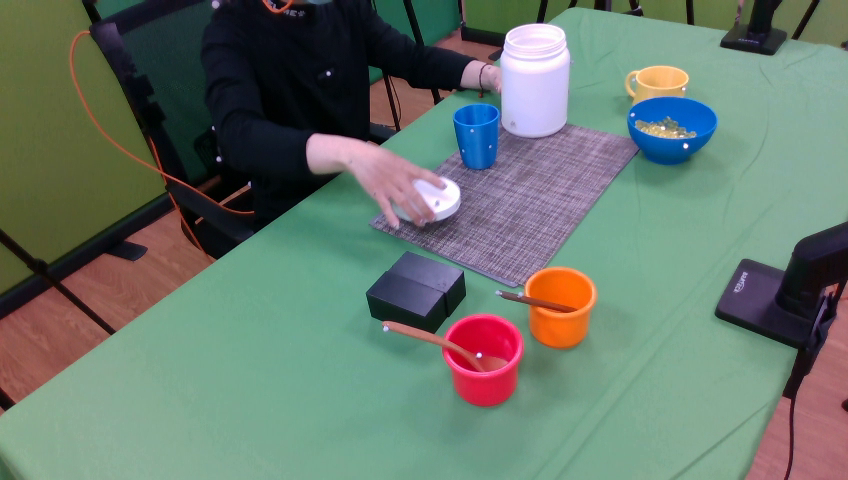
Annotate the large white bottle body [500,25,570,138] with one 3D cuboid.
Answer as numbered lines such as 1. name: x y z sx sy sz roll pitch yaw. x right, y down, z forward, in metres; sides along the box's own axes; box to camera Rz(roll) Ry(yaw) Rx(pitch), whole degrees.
1. large white bottle body: 0.214 -0.308 1.173 0.130 0.185 0.130 -4 41 4

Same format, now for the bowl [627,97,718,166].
1. bowl: 0.439 -0.187 1.087 0.151 0.077 0.150 -4 41 4

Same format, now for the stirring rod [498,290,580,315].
1. stirring rod: 0.151 0.081 0.772 0.178 0.006 0.014 16 19 -45

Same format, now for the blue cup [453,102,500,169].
1. blue cup: 0.099 -0.188 1.114 0.092 0.100 0.092 -4 39 4

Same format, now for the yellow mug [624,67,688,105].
1. yellow mug: 0.465 -0.305 1.230 0.100 0.064 0.129 -34 46 -27

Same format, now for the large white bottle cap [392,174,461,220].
1. large white bottle cap: 0.004 -0.072 0.997 0.115 0.018 0.114 -2 38 2

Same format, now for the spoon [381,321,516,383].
1. spoon: 0.033 0.131 0.725 0.195 0.021 0.041 29 30 -26
